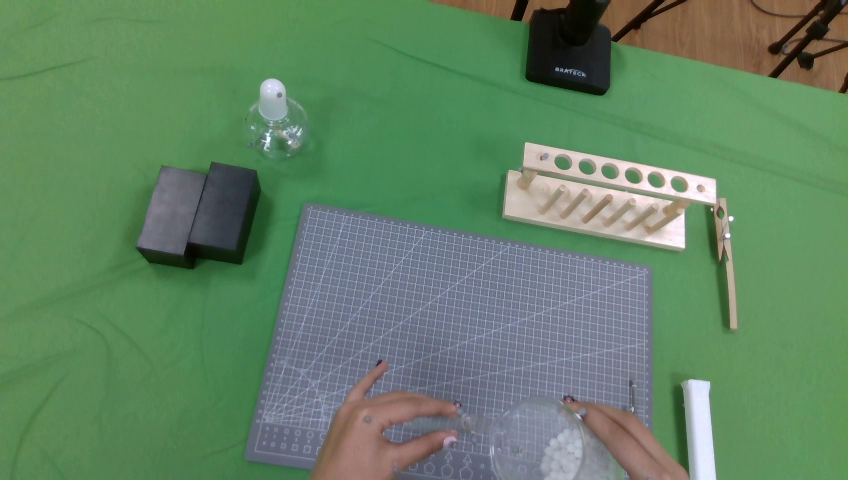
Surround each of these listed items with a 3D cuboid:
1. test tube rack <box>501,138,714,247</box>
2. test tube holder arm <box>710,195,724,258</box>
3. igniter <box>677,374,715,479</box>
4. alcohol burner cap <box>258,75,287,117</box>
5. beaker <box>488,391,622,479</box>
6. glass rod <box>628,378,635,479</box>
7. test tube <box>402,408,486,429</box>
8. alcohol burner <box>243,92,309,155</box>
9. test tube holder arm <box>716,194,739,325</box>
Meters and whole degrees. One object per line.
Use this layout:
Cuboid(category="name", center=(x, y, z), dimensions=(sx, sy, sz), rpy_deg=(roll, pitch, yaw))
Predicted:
Cuboid(category="test tube rack", center=(0.228, -0.057, 0.762), dimensions=(0.243, 0.085, 0.066), rpy_deg=(10, 69, -6))
Cuboid(category="test tube holder arm", center=(0.394, -0.019, 0.813), dimensions=(0.010, 0.015, 0.087), rpy_deg=(-8, 69, 26))
Cuboid(category="igniter", center=(0.313, 0.291, 0.684), dimensions=(0.057, 0.025, 0.274), rpy_deg=(10, 69, -16))
Cuboid(category="alcohol burner cap", center=(-0.170, -0.165, 0.680), dimensions=(0.034, 0.048, 0.033), rpy_deg=(6, 64, -13))
Cuboid(category="beaker", center=(0.104, 0.166, 0.472), dimensions=(0.083, 0.101, 0.074), rpy_deg=(14, 72, 41))
Cuboid(category="glass rod", center=(0.236, 0.257, 0.690), dimensions=(0.008, 0.008, 0.198), rpy_deg=(10, 69, -6))
Cuboid(category="test tube", center=(0.013, 0.159, 0.541), dimensions=(0.017, 0.150, 0.017), rpy_deg=(7, 73, -23))
Cuboid(category="alcohol burner", center=(-0.176, -0.151, 0.713), dimensions=(0.078, 0.119, 0.077), rpy_deg=(3, 68, -7))
Cuboid(category="test tube holder arm", center=(0.398, 0.023, 0.796), dimensions=(0.013, 0.015, 0.177), rpy_deg=(-9, 68, 26))
